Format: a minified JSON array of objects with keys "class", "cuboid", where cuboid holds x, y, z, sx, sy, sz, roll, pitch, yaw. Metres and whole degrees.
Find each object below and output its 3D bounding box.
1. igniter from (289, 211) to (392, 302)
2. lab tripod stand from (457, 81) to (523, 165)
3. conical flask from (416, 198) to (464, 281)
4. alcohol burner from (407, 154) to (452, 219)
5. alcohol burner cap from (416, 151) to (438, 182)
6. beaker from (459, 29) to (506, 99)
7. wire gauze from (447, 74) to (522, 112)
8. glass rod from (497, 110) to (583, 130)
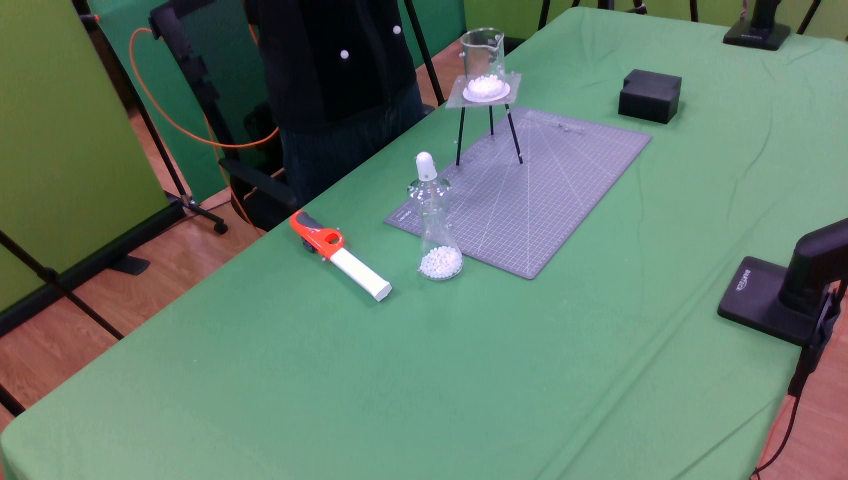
[{"class":"igniter","cuboid":[-0.146,0.019,0.986,0.057,0.025,0.274,-40,48,-18]},{"class":"lab tripod stand","cuboid":[0.120,-0.219,1.130,0.148,0.132,0.147,-7,38,6]},{"class":"conical flask","cuboid":[0.019,-0.004,0.907,0.075,0.122,0.075,-5,40,5]},{"class":"alcohol burner","cuboid":[0.007,-0.096,1.020,0.078,0.119,0.077,-4,40,4]},{"class":"alcohol burner cap","cuboid":[0.003,-0.123,0.996,0.034,0.048,0.033,-10,37,8]},{"class":"beaker","cuboid":[0.107,-0.305,1.056,0.074,0.101,0.083,-27,43,-18]},{"class":"wire gauze","cuboid":[0.110,-0.268,1.087,0.121,0.011,0.125,1,43,15]},{"class":"glass rod","cuboid":[0.233,-0.245,1.234,0.198,0.008,0.008,21,49,34]}]
